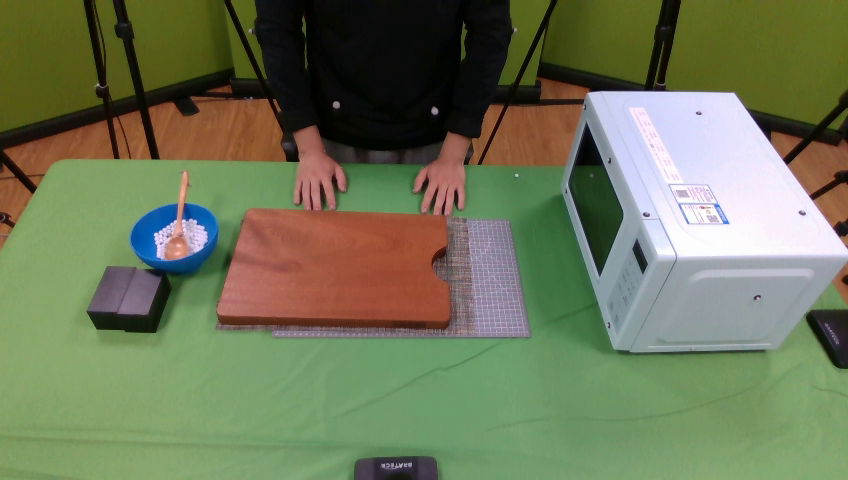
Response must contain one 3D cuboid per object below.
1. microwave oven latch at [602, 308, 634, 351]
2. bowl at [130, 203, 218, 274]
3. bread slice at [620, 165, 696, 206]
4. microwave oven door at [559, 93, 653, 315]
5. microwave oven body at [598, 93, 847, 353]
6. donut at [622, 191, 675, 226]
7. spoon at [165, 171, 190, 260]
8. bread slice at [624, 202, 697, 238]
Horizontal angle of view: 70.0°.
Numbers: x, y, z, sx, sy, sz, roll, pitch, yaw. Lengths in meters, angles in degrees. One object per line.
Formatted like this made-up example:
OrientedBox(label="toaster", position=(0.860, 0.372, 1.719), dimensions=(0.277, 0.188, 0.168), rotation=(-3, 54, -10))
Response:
OrientedBox(label="microwave oven latch", position=(0.332, 0.153, 1.044), dimensions=(0.030, 0.029, 0.078), rotation=(-1, 45, -4))
OrientedBox(label="bowl", position=(-0.450, 0.010, 1.117), dimensions=(0.151, 0.077, 0.150), rotation=(3, 45, -3))
OrientedBox(label="bread slice", position=(0.446, -0.103, 1.148), dimensions=(0.135, 0.018, 0.106), rotation=(1, 41, -23))
OrientedBox(label="microwave oven door", position=(0.327, -0.074, 1.123), dimensions=(0.039, 0.245, 0.353), rotation=(-1, 46, -5))
OrientedBox(label="microwave oven body", position=(0.475, -0.041, 1.110), dimensions=(0.326, 0.261, 0.438), rotation=(-1, 45, -4))
OrientedBox(label="donut", position=(0.435, -0.061, 1.174), dimensions=(0.099, 0.048, 0.098), rotation=(-7, 27, 4))
OrientedBox(label="spoon", position=(-0.452, -0.046, 1.129), dimensions=(0.041, 0.022, 0.193), rotation=(-1, 69, -2))
OrientedBox(label="bread slice", position=(0.467, -0.042, 1.199), dimensions=(0.131, 0.019, 0.104), rotation=(0, 38, 9))
